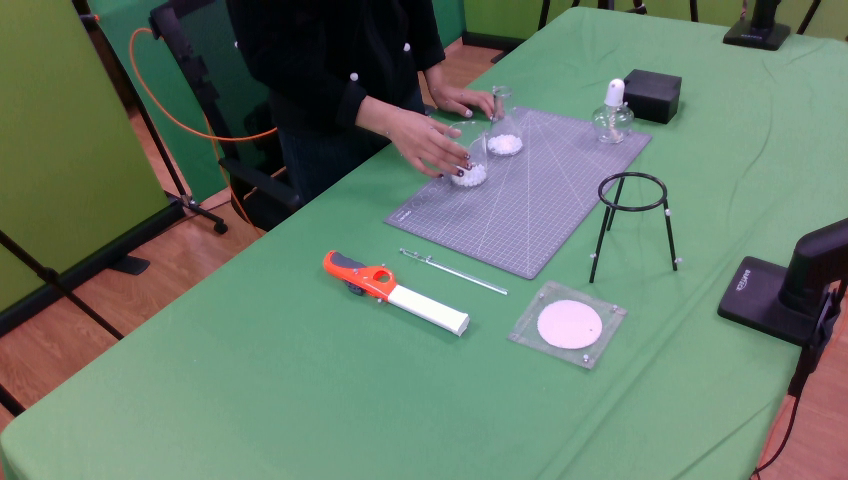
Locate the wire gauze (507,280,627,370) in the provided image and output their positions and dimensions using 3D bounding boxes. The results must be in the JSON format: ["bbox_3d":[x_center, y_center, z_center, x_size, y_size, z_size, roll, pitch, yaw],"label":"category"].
[{"bbox_3d":[0.196,0.114,0.823,0.120,0.011,0.125,20,50,31],"label":"wire gauze"}]

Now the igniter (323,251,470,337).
[{"bbox_3d":[-0.052,0.075,0.901,0.274,0.025,0.057,22,60,32],"label":"igniter"}]

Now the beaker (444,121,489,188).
[{"bbox_3d":[0.078,-0.150,1.081,0.074,0.101,0.083,-9,40,2],"label":"beaker"}]

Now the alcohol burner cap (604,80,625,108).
[{"bbox_3d":[0.350,-0.269,1.102,0.034,0.048,0.033,-1,47,2],"label":"alcohol burner cap"}]

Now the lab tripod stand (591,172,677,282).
[{"bbox_3d":[0.292,-0.022,0.867,0.148,0.132,0.147,-7,39,6],"label":"lab tripod stand"}]

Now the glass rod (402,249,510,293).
[{"bbox_3d":[0.045,0.046,0.932,0.198,0.008,0.008,20,49,31],"label":"glass rod"}]

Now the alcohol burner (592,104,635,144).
[{"bbox_3d":[0.353,-0.242,1.126,0.078,0.119,0.077,-5,38,5],"label":"alcohol burner"}]

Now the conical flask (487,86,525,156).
[{"bbox_3d":[0.152,-0.226,1.140,0.075,0.122,0.075,-5,40,5],"label":"conical flask"}]
